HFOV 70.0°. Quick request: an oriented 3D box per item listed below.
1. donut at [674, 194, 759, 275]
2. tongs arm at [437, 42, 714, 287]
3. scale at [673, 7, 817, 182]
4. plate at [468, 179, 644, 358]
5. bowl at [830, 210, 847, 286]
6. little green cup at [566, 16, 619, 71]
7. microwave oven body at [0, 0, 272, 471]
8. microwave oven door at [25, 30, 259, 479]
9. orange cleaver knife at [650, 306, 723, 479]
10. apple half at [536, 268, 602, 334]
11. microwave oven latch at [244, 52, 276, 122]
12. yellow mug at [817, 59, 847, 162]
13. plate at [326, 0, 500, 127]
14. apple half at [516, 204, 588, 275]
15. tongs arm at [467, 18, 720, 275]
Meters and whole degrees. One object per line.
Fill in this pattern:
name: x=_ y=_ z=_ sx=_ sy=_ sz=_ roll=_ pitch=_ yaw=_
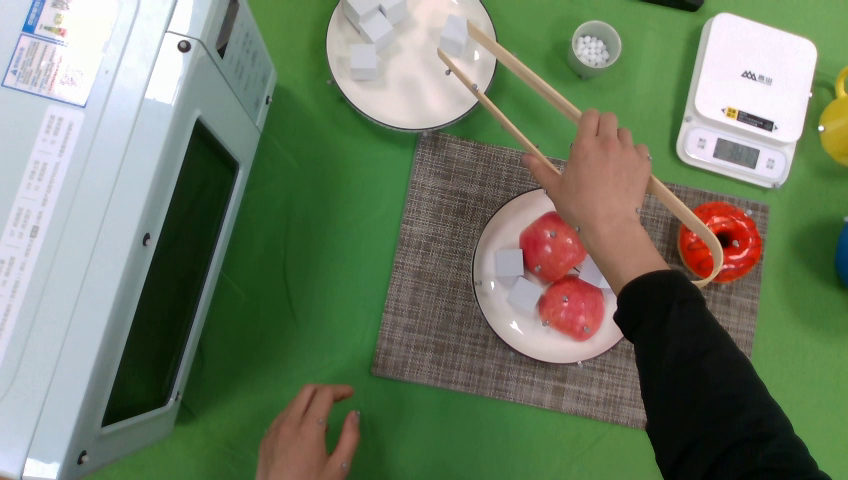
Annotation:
donut: x=0.352 y=-0.006 z=0.733 sx=0.099 sy=0.048 sz=0.098 roll=0 pitch=83 yaw=-2
tongs arm: x=0.144 y=-0.094 z=0.638 sx=0.051 sy=0.027 sz=0.382 roll=-36 pitch=70 yaw=-5
scale: x=0.407 y=-0.184 z=0.768 sx=0.149 sy=0.031 sz=0.200 roll=16 pitch=83 yaw=-2
plate: x=0.154 y=0.033 z=0.718 sx=0.209 sy=0.038 sz=0.208 roll=1 pitch=83 yaw=-4
bowl: x=0.555 y=0.013 z=0.733 sx=0.151 sy=0.077 sz=0.151 roll=0 pitch=84 yaw=-4
little green cup: x=0.208 y=-0.243 z=0.758 sx=0.061 sy=0.038 sz=0.061 roll=1 pitch=83 yaw=-4
microwave oven body: x=-0.375 y=-0.060 z=0.577 sx=0.326 sy=0.260 sz=0.440 roll=15 pitch=83 yaw=-3
microwave oven door: x=-0.244 y=0.017 z=0.573 sx=0.039 sy=0.244 sz=0.355 roll=14 pitch=82 yaw=-2
orange cleaver knife: x=0.319 y=0.186 z=0.721 sx=0.077 sy=0.012 sz=0.210 roll=-6 pitch=83 yaw=-10
apple half: x=0.174 y=0.069 z=0.708 sx=0.081 sy=0.033 sz=0.081 roll=0 pitch=85 yaw=0
microwave oven latch: x=-0.195 y=-0.180 z=0.702 sx=0.030 sy=0.029 sz=0.079 roll=17 pitch=83 yaw=-2
yellow mug: x=0.556 y=-0.167 z=0.760 sx=0.100 sy=0.064 sz=0.130 roll=-21 pitch=84 yaw=-6
plate: x=-0.013 y=-0.235 z=0.741 sx=0.208 sy=0.039 sz=0.207 roll=1 pitch=83 yaw=-4
apple half: x=0.151 y=-0.004 z=0.706 sx=0.081 sy=0.053 sz=0.074 roll=-33 pitch=84 yaw=-8
tongs arm: x=0.167 y=-0.113 z=0.641 sx=0.028 sy=0.028 sz=0.384 roll=-37 pitch=70 yaw=-9
